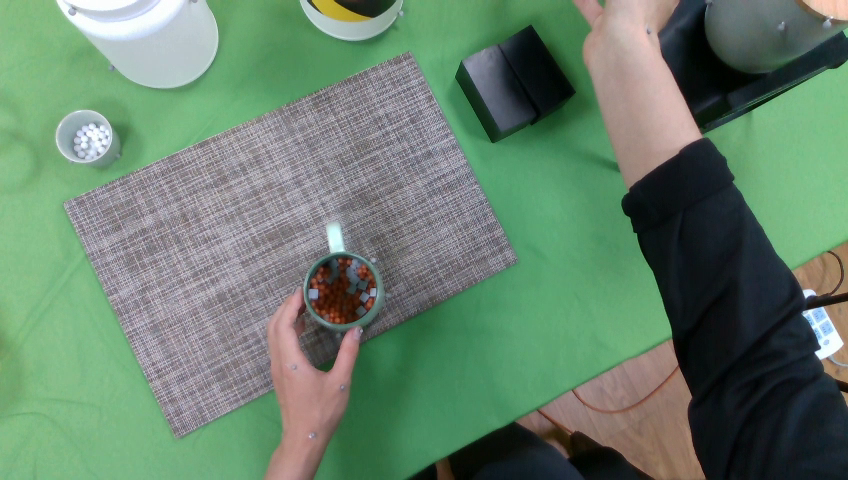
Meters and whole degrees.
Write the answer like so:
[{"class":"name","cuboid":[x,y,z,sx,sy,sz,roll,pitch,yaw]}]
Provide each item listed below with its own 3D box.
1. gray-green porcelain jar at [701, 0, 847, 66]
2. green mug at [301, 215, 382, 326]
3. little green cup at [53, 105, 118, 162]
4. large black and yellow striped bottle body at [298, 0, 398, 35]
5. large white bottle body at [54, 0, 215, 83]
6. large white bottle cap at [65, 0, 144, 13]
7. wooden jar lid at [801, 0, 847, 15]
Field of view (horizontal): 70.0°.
[{"class":"gray-green porcelain jar","cuboid":[0.334,-0.231,0.567,0.106,0.126,0.105,1,83,-6]},{"class":"green mug","cuboid":[-0.095,0.034,0.676,0.092,0.105,0.125,-10,85,-7]},{"class":"little green cup","cuboid":[-0.385,-0.119,0.696,0.061,0.038,0.061,1,85,-7]},{"class":"large black and yellow striped bottle body","cuboid":[-0.087,-0.329,0.679,0.131,0.184,0.130,1,83,-6]},{"class":"large white bottle body","cuboid":[-0.309,-0.259,0.645,0.131,0.185,0.130,1,84,-6]},{"class":"large white bottle cap","cuboid":[-0.300,-0.269,0.562,0.115,0.018,0.114,1,85,-6]},{"class":"wooden jar lid","cuboid":[0.339,-0.239,0.505,0.108,0.020,0.108,1,87,-8]}]
